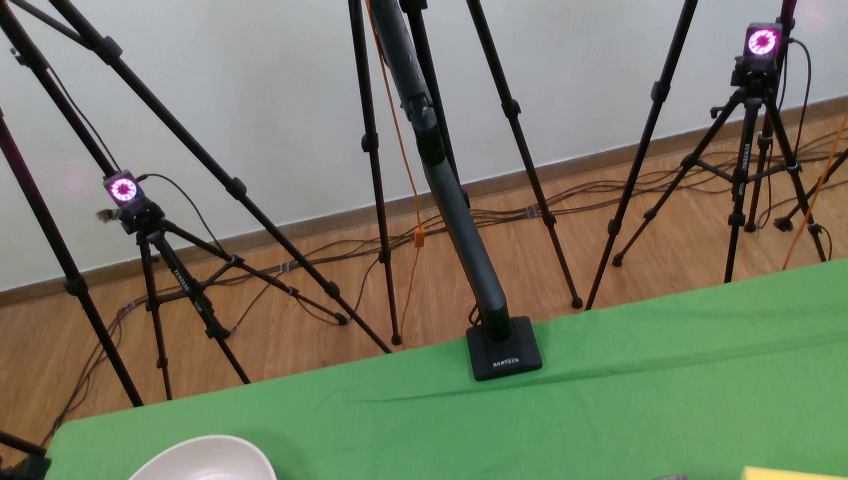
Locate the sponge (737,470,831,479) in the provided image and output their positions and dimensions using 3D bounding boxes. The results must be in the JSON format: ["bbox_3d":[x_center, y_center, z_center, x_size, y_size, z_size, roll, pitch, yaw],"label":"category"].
[{"bbox_3d":[0.429,0.375,0.681,0.118,0.061,0.205,0,43,17],"label":"sponge"}]

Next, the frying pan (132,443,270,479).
[{"bbox_3d":[-0.334,0.504,0.819,0.307,0.104,0.482,-18,33,-1],"label":"frying pan"}]
